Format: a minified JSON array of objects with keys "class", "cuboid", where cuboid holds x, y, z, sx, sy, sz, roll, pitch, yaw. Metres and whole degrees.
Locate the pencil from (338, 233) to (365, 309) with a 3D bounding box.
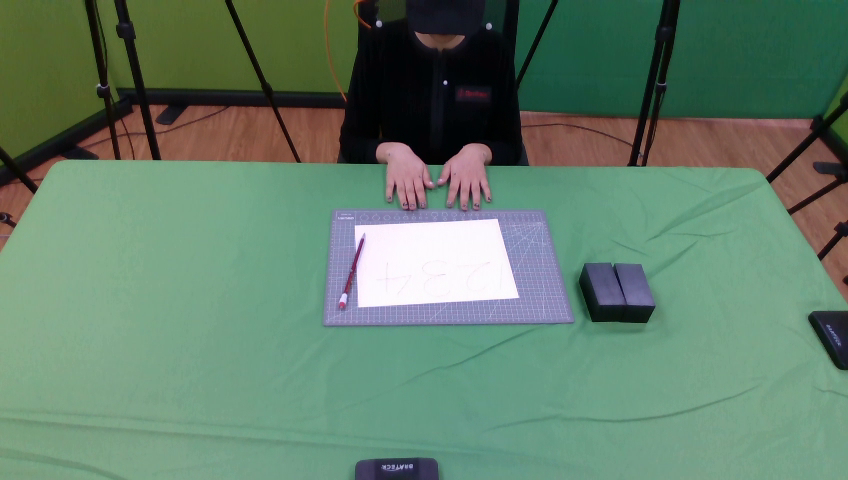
[{"class":"pencil","cuboid":[-0.134,0.053,1.142,0.012,0.012,0.193,8,45,5]}]
